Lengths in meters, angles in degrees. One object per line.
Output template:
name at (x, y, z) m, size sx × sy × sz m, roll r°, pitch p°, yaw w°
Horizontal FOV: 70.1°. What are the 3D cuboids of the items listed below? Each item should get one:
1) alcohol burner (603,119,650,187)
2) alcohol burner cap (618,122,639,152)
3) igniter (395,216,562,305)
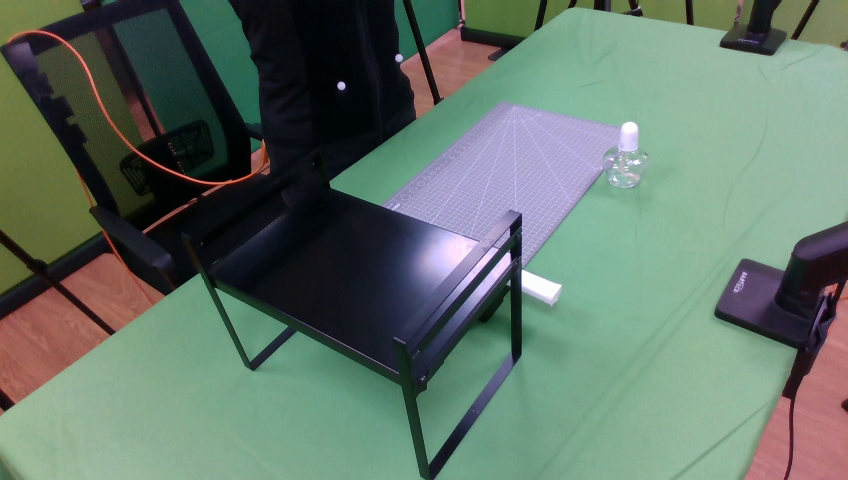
alcohol burner at (0.347, -0.151, 1.030) m, size 0.078 × 0.119 × 0.077 m, roll -4°, pitch 39°, yaw 4°
alcohol burner cap at (0.342, -0.174, 1.009) m, size 0.034 × 0.048 × 0.033 m, roll -5°, pitch 38°, yaw 4°
igniter at (0.066, 0.023, 0.863) m, size 0.274 × 0.025 × 0.057 m, roll 24°, pitch 48°, yaw 28°
